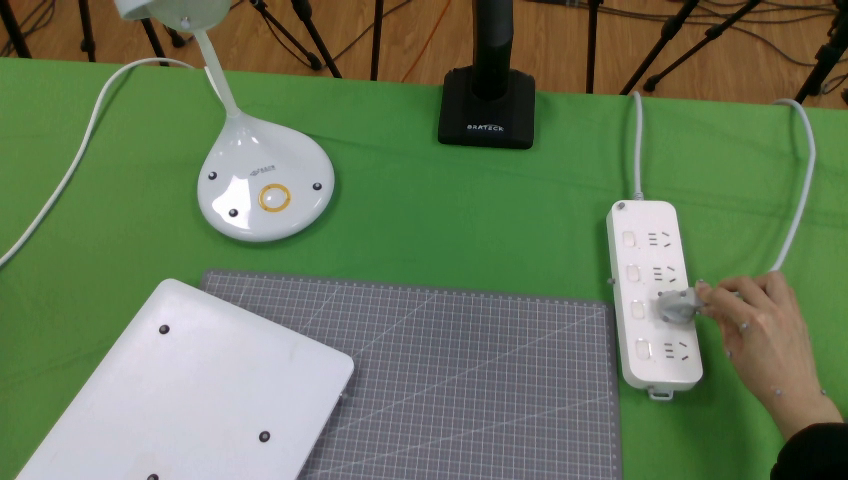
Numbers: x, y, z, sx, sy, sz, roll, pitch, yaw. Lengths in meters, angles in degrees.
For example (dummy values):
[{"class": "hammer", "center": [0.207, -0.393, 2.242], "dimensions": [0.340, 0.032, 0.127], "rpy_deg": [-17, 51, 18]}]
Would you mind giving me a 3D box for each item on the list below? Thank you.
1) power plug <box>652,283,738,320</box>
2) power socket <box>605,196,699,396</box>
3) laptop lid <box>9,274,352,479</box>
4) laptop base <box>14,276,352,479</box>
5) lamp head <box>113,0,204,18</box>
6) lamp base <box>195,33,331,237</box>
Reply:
[{"class": "power plug", "center": [0.265, 0.067, 0.603], "dimensions": [0.072, 0.053, 0.035], "rpy_deg": [14, 60, 7]}, {"class": "power socket", "center": [0.237, 0.049, 0.641], "dimensions": [0.072, 0.033, 0.225], "rpy_deg": [3, 60, 2]}, {"class": "laptop lid", "center": [-0.246, 0.214, 0.555], "dimensions": [0.241, 0.013, 0.355], "rpy_deg": [23, 64, 12]}, {"class": "laptop base", "center": [-0.248, 0.220, 0.566], "dimensions": [0.235, 0.023, 0.352], "rpy_deg": [22, 64, 10]}, {"class": "lamp head", "center": [-0.169, -0.219, 0.395], "dimensions": [0.112, 0.111, 0.123], "rpy_deg": [-23, 106, -11]}, {"class": "lamp base", "center": [-0.200, -0.120, 0.661], "dimensions": [0.160, 0.182, 0.177], "rpy_deg": [-31, 61, -15]}]
